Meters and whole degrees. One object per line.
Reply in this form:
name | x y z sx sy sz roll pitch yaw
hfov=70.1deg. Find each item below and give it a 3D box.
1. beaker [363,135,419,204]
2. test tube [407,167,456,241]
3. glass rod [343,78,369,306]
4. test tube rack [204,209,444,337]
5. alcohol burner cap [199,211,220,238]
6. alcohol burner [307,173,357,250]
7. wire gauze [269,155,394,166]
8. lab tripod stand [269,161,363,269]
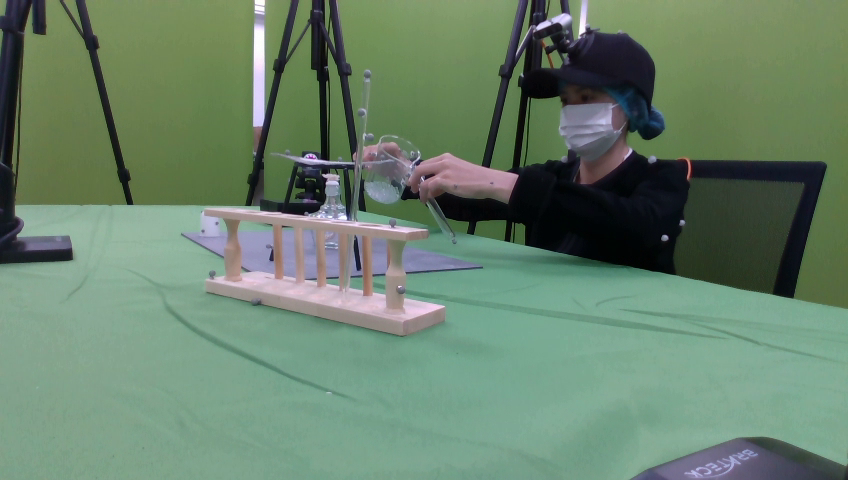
beaker | -0.058 -0.117 1.038 0.074 0.100 0.083 -4 47 -35
test tube | 0.011 -0.058 0.953 0.017 0.017 0.149 -4 54 -40
glass rod | -0.059 -0.038 0.522 0.008 0.199 0.008 6 5 0
test tube rack | -0.100 0.021 0.565 0.241 0.085 0.067 7 9 32
alcohol burner cap | -0.356 -0.027 1.002 0.034 0.048 0.034 2 7 0
alcohol burner | -0.144 -0.045 0.940 0.078 0.119 0.078 1 8 0
wire gauze | -0.121 -0.102 0.785 0.122 0.011 0.124 -3 10 -39
lab tripod stand | -0.125 -0.036 0.794 0.148 0.131 0.148 5 7 0
